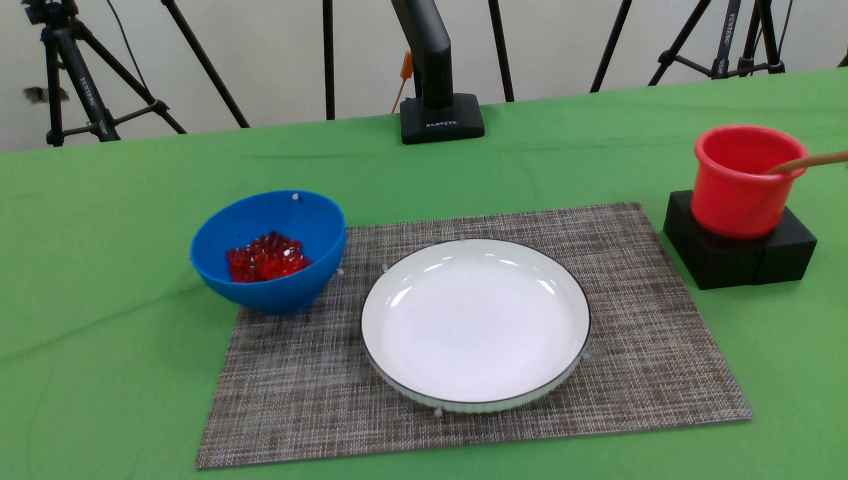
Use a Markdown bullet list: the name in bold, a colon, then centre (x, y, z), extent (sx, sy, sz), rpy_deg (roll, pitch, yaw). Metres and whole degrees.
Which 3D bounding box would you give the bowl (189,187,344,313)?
- **bowl**: centre (-0.150, 0.021, 0.617), extent (0.151, 0.077, 0.150), rpy_deg (-4, 40, 3)

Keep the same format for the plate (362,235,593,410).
- **plate**: centre (0.048, 0.073, 0.560), extent (0.207, 0.039, 0.205), rpy_deg (-4, 39, 3)

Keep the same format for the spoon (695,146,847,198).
- **spoon**: centre (0.312, -0.062, 0.531), extent (0.042, 0.021, 0.193), rpy_deg (-20, -3, -16)
